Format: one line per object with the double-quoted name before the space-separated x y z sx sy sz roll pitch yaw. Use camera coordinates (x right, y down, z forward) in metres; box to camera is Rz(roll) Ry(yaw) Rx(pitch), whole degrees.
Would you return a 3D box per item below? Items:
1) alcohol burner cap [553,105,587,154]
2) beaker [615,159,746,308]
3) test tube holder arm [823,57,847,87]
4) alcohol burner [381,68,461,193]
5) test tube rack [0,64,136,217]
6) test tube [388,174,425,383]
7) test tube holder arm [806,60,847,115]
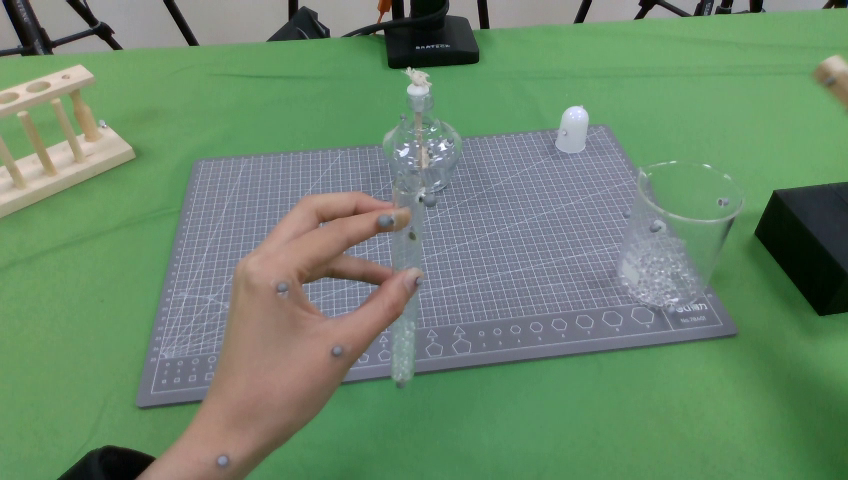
"alcohol burner cap" 0.155 -0.119 0.637 0.034 0.048 0.033 0 44 1
"beaker" 0.191 -0.003 0.474 0.074 0.101 0.083 -27 49 -25
"test tube holder arm" 0.326 -0.056 0.397 0.013 0.015 0.177 -29 69 -15
"alcohol burner" -0.004 -0.105 0.573 0.078 0.120 0.077 -2 42 2
"test tube rack" -0.416 -0.076 0.572 0.242 0.086 0.066 -34 53 -30
"test tube" -0.011 0.029 0.329 0.017 0.151 0.017 2 41 -2
"test tube holder arm" 0.297 -0.088 0.411 0.010 0.015 0.087 -29 68 -15
